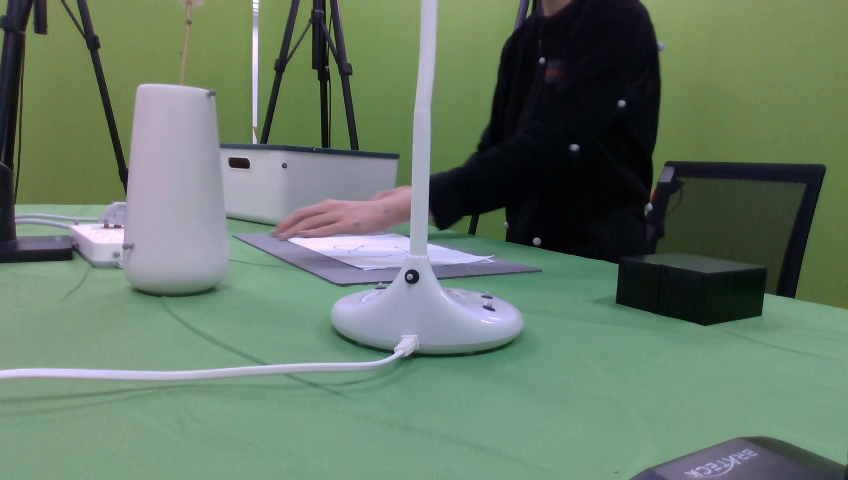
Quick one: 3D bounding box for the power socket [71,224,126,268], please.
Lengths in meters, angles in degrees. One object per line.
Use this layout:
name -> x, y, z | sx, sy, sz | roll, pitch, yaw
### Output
power socket -> -0.409, 0.004, 0.793 | 0.072, 0.032, 0.225 | -2, 8, -37

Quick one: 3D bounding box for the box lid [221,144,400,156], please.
box lid -> -0.263, -0.202, 1.369 | 0.262, 0.015, 0.373 | 8, 10, 39

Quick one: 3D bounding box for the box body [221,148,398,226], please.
box body -> -0.264, -0.129, 1.380 | 0.253, 0.160, 0.366 | 8, 9, 39

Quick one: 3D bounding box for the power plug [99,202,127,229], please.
power plug -> -0.415, -0.026, 0.848 | 0.073, 0.052, 0.035 | 6, 5, -28

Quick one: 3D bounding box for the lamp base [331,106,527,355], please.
lamp base -> 0.006, -0.012, 0.478 | 0.161, 0.180, 0.179 | 2, 10, 2

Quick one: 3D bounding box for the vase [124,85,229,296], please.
vase -> -0.244, -0.047, 0.598 | 0.098, 0.200, 0.098 | 3, 8, 0

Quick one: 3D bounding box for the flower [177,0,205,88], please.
flower -> -0.243, -0.131, 0.609 | 0.044, 0.361, 0.038 | -5, -12, 11
